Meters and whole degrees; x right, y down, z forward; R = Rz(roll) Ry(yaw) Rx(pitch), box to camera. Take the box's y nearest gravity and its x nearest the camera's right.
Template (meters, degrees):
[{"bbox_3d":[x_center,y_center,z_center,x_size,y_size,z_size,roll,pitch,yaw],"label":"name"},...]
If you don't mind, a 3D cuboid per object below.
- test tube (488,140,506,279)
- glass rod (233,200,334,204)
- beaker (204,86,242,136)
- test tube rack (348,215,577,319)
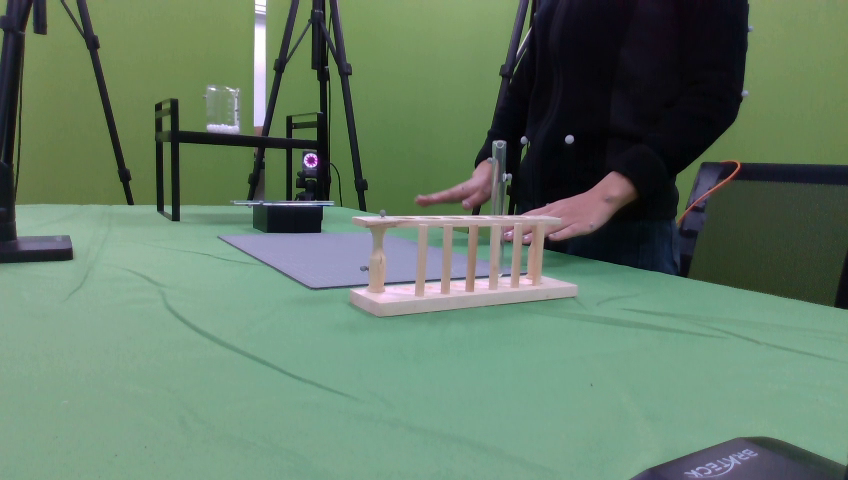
[{"bbox_3d":[0.079,-0.032,0.654,0.017,0.150,0.017,1,2,0],"label":"test tube"},{"bbox_3d":[-0.262,-0.071,1.146,0.201,0.008,0.008,-2,9,-34],"label":"glass rod"},{"bbox_3d":[-0.429,-0.276,1.300,0.083,0.100,0.074,9,10,37],"label":"beaker"},{"bbox_3d":[0.048,0.021,0.619,0.244,0.085,0.066,-2,9,-31],"label":"test tube rack"}]
